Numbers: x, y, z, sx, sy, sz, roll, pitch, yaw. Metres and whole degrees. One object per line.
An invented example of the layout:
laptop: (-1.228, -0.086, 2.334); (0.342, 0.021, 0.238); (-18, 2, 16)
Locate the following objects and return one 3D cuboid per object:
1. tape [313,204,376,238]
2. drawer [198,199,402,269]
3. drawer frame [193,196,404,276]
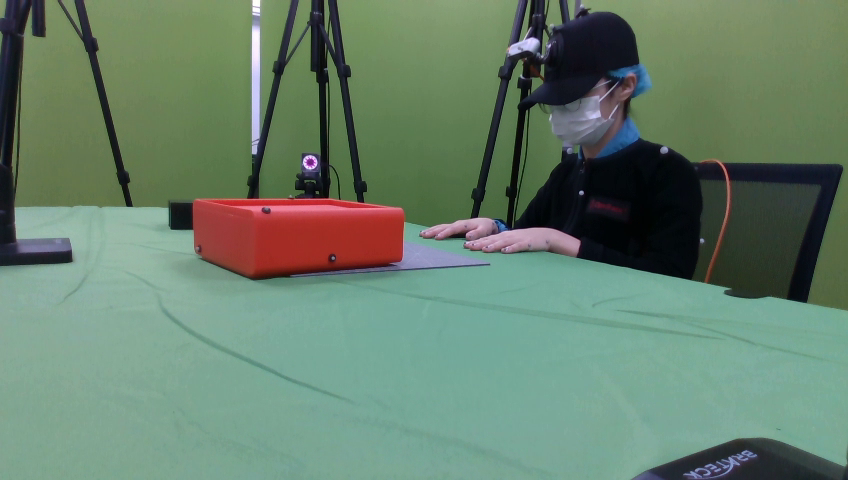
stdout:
tape: (-0.145, -0.036, 1.117); (0.117, 0.052, 0.117); (3, 8, 0)
drawer: (-0.169, -0.014, 0.817); (0.213, 0.073, 0.193); (-4, 10, -39)
drawer frame: (-0.169, -0.014, 0.814); (0.215, 0.082, 0.200); (-5, 10, -40)
